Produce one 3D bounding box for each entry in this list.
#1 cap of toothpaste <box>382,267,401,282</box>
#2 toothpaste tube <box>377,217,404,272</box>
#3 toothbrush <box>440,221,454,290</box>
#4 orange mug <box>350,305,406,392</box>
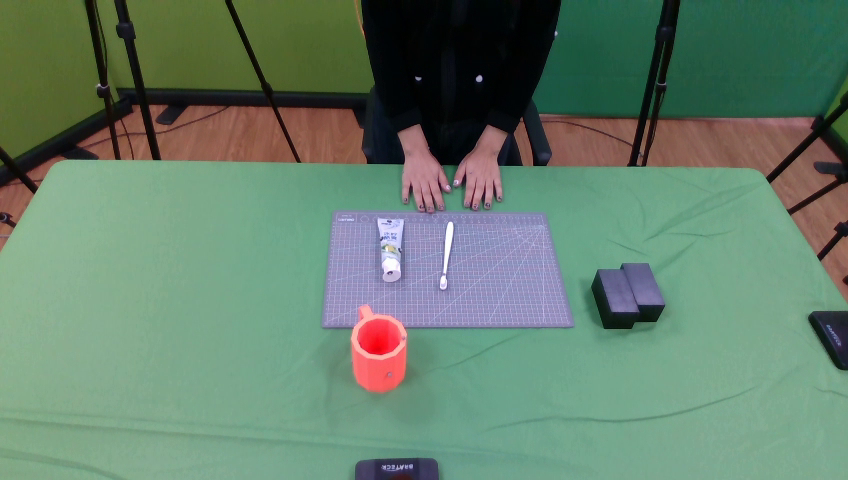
[{"bbox_3d":[-0.060,0.063,1.119,0.037,0.037,0.011,-9,50,-12],"label":"cap of toothpaste"},{"bbox_3d":[-0.063,0.008,1.179,0.055,0.034,0.164,5,42,-9],"label":"toothpaste tube"},{"bbox_3d":[0.044,0.025,1.177,0.014,0.017,0.181,-4,43,13],"label":"toothbrush"},{"bbox_3d":[-0.080,0.168,0.978,0.083,0.101,0.125,-16,54,-18],"label":"orange mug"}]
